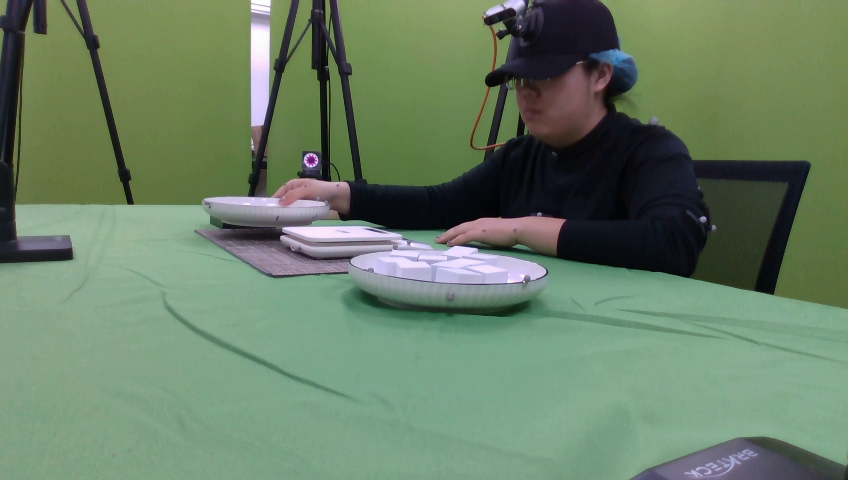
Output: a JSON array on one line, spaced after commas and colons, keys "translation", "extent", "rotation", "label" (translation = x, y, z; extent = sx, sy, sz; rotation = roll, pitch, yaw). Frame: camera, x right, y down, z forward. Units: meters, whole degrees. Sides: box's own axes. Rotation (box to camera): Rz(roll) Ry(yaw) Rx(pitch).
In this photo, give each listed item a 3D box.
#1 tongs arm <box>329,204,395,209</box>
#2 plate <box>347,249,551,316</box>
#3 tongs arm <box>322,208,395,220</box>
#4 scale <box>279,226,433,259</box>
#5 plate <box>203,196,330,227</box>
[{"translation": [-0.263, -0.076, 1.460], "extent": [0.386, 0.026, 0.050], "rotation": [3, 7, -8], "label": "tongs arm"}, {"translation": [0.025, 0.042, 0.627], "extent": [0.209, 0.038, 0.209], "rotation": [2, 7, 0], "label": "plate"}, {"translation": [-0.247, -0.063, 1.381], "extent": [0.389, 0.028, 0.028], "rotation": [0, 4, -21], "label": "tongs arm"}, {"translation": [-0.100, 0.001, 0.899], "extent": [0.202, 0.031, 0.148], "rotation": [-1, 9, -31], "label": "scale"}, {"translation": [-0.265, -0.048, 1.026], "extent": [0.208, 0.039, 0.207], "rotation": [3, 7, 0], "label": "plate"}]
